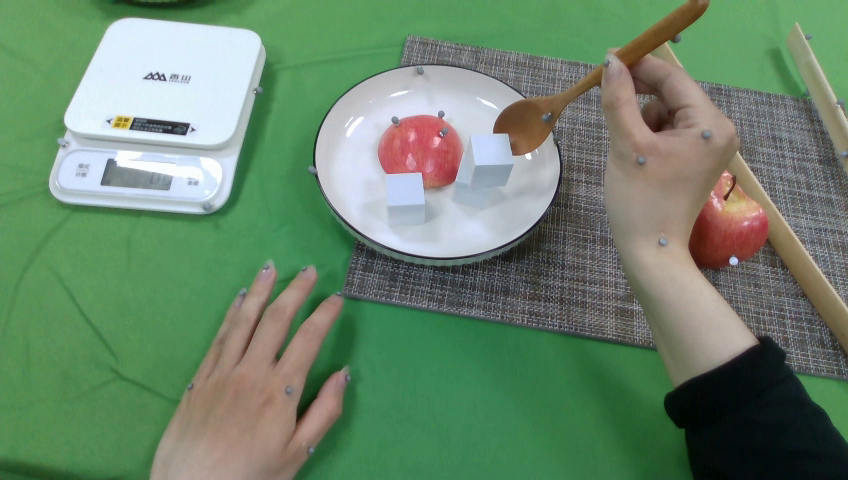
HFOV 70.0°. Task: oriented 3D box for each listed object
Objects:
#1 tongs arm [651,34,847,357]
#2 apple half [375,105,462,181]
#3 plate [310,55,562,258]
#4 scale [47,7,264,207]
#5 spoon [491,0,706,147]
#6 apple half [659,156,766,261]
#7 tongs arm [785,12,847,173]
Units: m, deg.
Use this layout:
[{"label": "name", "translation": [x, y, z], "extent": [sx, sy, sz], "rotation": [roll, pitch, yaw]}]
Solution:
[{"label": "tongs arm", "translation": [0.292, -0.055, 0.536], "extent": [0.028, 0.028, 0.384], "rotation": [-11, 62, -15]}, {"label": "apple half", "translation": [-0.003, -0.089, 0.520], "extent": [0.081, 0.033, 0.080], "rotation": [2, 57, -2]}, {"label": "plate", "translation": [0.010, -0.071, 0.517], "extent": [0.209, 0.038, 0.207], "rotation": [2, 60, -3]}, {"label": "scale", "translation": [-0.231, -0.123, 0.535], "extent": [0.149, 0.032, 0.199], "rotation": [5, 61, -1]}, {"label": "spoon", "translation": [0.110, -0.111, 0.418], "extent": [0.021, 0.193, 0.042], "rotation": [-36, 95, -31]}, {"label": "apple half", "translation": [0.219, -0.018, 0.483], "extent": [0.053, 0.075, 0.080], "rotation": [-25, 68, -13]}, {"label": "tongs arm", "translation": [0.374, -0.063, 0.545], "extent": [0.051, 0.027, 0.381], "rotation": [0, 61, -5]}]
